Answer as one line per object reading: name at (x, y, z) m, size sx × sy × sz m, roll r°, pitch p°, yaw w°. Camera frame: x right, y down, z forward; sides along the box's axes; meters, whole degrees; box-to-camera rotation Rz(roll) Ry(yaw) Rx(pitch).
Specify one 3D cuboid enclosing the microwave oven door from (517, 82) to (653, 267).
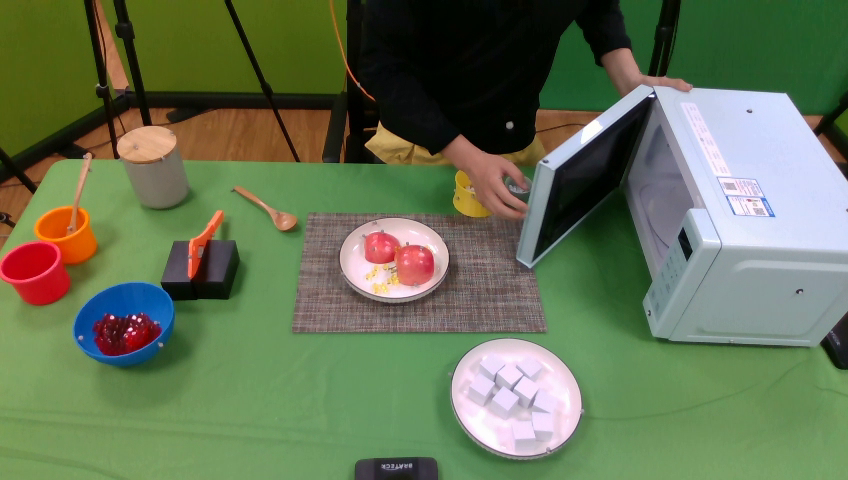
microwave oven door at (0.315, -0.131, 1.164) m, size 0.039 × 0.245 × 0.355 m, roll 35°, pitch 54°, yaw 26°

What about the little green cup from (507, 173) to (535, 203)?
little green cup at (0.206, -0.110, 1.302) m, size 0.061 × 0.039 × 0.061 m, roll 2°, pitch 48°, yaw -2°

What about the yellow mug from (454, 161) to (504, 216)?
yellow mug at (0.117, -0.118, 1.284) m, size 0.100 × 0.064 × 0.130 m, roll 9°, pitch 43°, yaw 5°

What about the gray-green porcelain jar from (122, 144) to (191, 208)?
gray-green porcelain jar at (-0.531, -0.137, 1.214) m, size 0.106 × 0.127 × 0.105 m, roll 2°, pitch 47°, yaw -2°

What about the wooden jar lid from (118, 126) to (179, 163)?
wooden jar lid at (-0.528, -0.181, 1.167) m, size 0.108 × 0.021 × 0.107 m, roll 4°, pitch 47°, yaw -4°

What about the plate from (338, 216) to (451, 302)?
plate at (-0.054, 0.038, 1.138) m, size 0.209 × 0.038 × 0.208 m, roll 2°, pitch 46°, yaw -2°

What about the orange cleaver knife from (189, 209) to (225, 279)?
orange cleaver knife at (-0.400, 0.002, 1.122) m, size 0.012 × 0.077 × 0.210 m, roll 4°, pitch 23°, yaw -4°

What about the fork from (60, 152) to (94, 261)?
fork at (-0.638, -0.063, 1.120) m, size 0.028 × 0.018 × 0.207 m, roll 12°, pitch 90°, yaw 6°

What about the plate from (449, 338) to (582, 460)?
plate at (0.141, 0.251, 0.955) m, size 0.208 × 0.039 × 0.206 m, roll 2°, pitch 47°, yaw -2°

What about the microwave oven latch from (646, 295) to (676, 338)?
microwave oven latch at (0.413, 0.133, 1.060) m, size 0.030 × 0.029 × 0.078 m, roll 4°, pitch 46°, yaw 1°

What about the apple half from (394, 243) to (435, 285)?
apple half at (-0.017, 0.036, 1.120) m, size 0.075 × 0.053 × 0.080 m, roll 1°, pitch 46°, yaw -6°

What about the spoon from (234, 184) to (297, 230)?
spoon at (-0.327, -0.073, 1.240) m, size 0.193 × 0.022 × 0.041 m, roll 34°, pitch 71°, yaw 25°

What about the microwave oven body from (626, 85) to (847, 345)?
microwave oven body at (0.569, -0.054, 1.116) m, size 0.326 × 0.261 × 0.439 m, roll 2°, pitch 46°, yaw -1°

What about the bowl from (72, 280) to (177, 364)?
bowl at (-0.473, 0.147, 0.982) m, size 0.151 × 0.077 × 0.150 m, roll 2°, pitch 46°, yaw -2°

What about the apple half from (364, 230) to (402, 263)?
apple half at (-0.079, 0.004, 1.159) m, size 0.081 × 0.033 × 0.081 m, roll 3°, pitch 49°, yaw -3°
